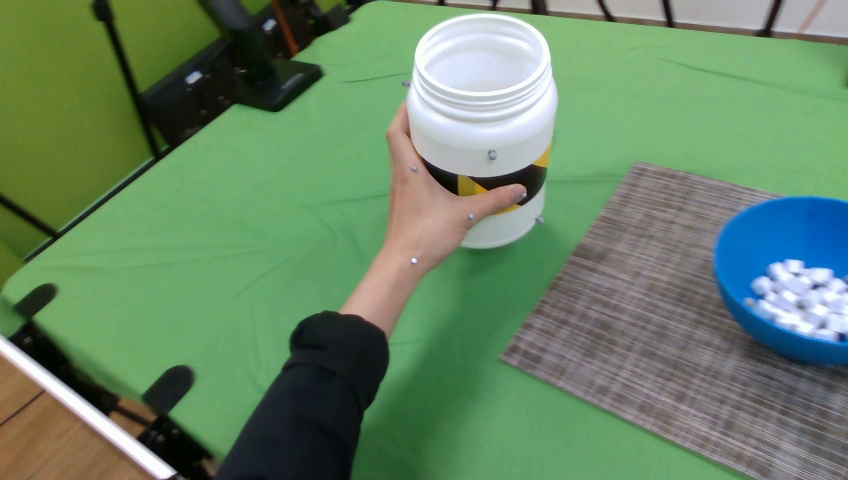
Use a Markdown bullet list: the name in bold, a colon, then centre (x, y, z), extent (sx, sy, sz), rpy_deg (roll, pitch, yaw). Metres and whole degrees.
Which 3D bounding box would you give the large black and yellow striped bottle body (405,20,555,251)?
- **large black and yellow striped bottle body**: centre (0.051, -0.092, 0.562), extent (0.131, 0.186, 0.129), rpy_deg (-2, 52, 3)

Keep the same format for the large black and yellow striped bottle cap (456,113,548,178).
- **large black and yellow striped bottle cap**: centre (0.097, -0.120, 0.757), extent (0.115, 0.019, 0.114), rpy_deg (-7, 44, 8)

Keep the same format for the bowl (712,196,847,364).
- **bowl**: centre (0.304, 0.044, 0.475), extent (0.151, 0.077, 0.150), rpy_deg (-8, 44, 8)
